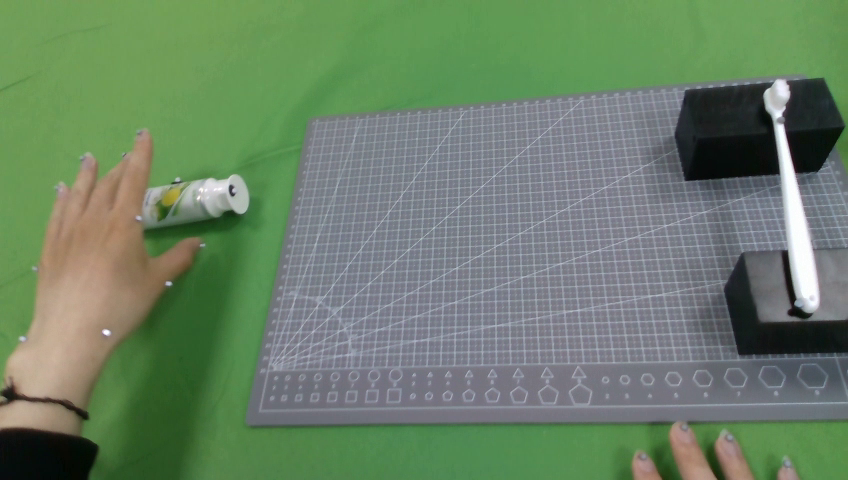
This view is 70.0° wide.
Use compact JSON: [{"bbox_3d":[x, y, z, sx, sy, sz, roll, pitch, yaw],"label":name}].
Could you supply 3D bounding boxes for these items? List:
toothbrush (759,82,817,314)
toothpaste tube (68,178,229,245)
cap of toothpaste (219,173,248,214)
[{"bbox_3d":[0.241,-0.035,0.400,0.014,0.017,0.180,11,60,-1],"label":"toothbrush"},{"bbox_3d":[-0.244,-0.031,0.547,0.165,0.035,0.054,-8,53,10],"label":"toothpaste tube"},{"bbox_3d":[-0.168,-0.041,0.532,0.011,0.038,0.037,-8,56,10],"label":"cap of toothpaste"}]
